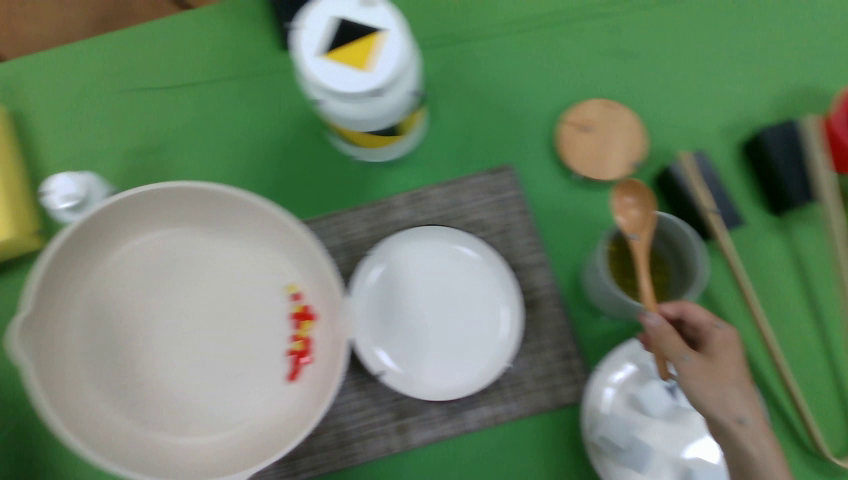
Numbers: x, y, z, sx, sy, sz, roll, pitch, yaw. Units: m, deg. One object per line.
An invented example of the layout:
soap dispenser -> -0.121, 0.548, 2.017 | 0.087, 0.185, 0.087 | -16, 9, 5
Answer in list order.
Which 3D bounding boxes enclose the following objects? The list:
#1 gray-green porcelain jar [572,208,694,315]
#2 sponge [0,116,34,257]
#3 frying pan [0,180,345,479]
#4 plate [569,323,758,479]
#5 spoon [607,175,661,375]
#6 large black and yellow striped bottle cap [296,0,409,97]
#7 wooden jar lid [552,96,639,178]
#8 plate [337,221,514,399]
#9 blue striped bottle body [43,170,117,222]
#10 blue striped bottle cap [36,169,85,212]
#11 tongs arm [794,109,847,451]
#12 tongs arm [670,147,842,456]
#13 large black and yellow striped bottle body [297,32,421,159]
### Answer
gray-green porcelain jar -> 0.227, 0.029, 0.682 | 0.106, 0.127, 0.105 | 0, 78, 2
sponge -> -0.584, -0.072, 0.753 | 0.118, 0.061, 0.206 | -21, 80, -3
frying pan -> -0.220, 0.187, 0.571 | 0.308, 0.103, 0.484 | -1, 72, -24
plate -> 0.268, 0.200, 0.692 | 0.207, 0.039, 0.206 | 0, 79, 2
spoon -> 0.205, 0.032, 0.583 | 0.041, 0.022, 0.193 | -12, 75, 36
large black and yellow striped bottle cap -> -0.073, -0.203, 0.621 | 0.115, 0.019, 0.114 | 0, 80, 1
wooden jar lid -> 0.216, -0.129, 0.768 | 0.108, 0.021, 0.108 | 0, 80, 1
plate -> 0.001, 0.081, 0.718 | 0.209, 0.038, 0.208 | 0, 79, 2
blue striped bottle body -> -0.397, -0.043, 0.713 | 0.063, 0.121, 0.063 | 0, 78, 1
blue striped bottle cap -> -0.399, -0.054, 0.663 | 0.044, 0.021, 0.044 | 0, 80, 1
tongs arm -> 0.457, 0.043, 0.692 | 0.028, 0.028, 0.387 | -7, 88, -8
tongs arm -> 0.375, 0.067, 0.688 | 0.051, 0.026, 0.384 | -21, 89, -5
large black and yellow striped bottle body -> -0.071, -0.184, 0.703 | 0.131, 0.185, 0.130 | 0, 78, 2
